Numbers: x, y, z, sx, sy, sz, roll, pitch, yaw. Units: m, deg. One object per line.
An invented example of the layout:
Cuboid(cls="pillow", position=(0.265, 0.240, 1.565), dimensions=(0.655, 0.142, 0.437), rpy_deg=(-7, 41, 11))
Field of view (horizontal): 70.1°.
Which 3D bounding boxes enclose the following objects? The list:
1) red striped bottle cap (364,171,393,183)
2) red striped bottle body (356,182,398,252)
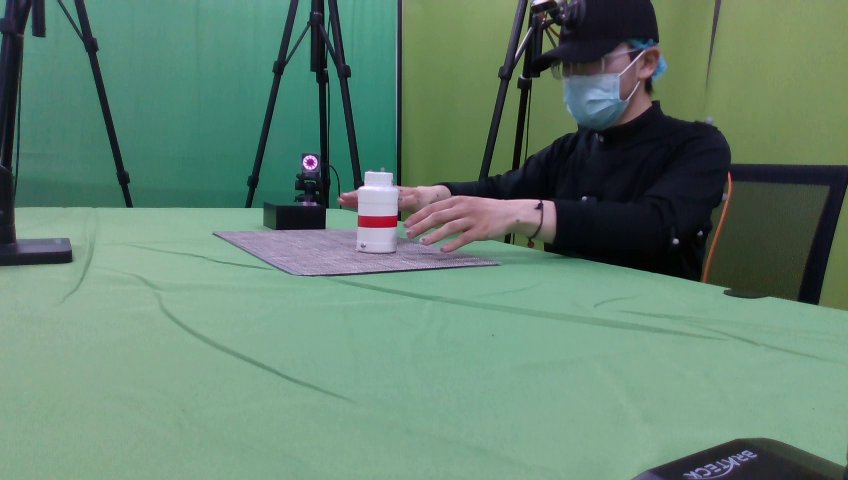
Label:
Cuboid(cls="red striped bottle cap", position=(-0.069, -0.096, 0.918), dimensions=(0.044, 0.017, 0.044), rpy_deg=(-1, 4, 0))
Cuboid(cls="red striped bottle body", position=(-0.071, -0.043, 0.924), dimensions=(0.063, 0.119, 0.063), rpy_deg=(2, 7, 0))
